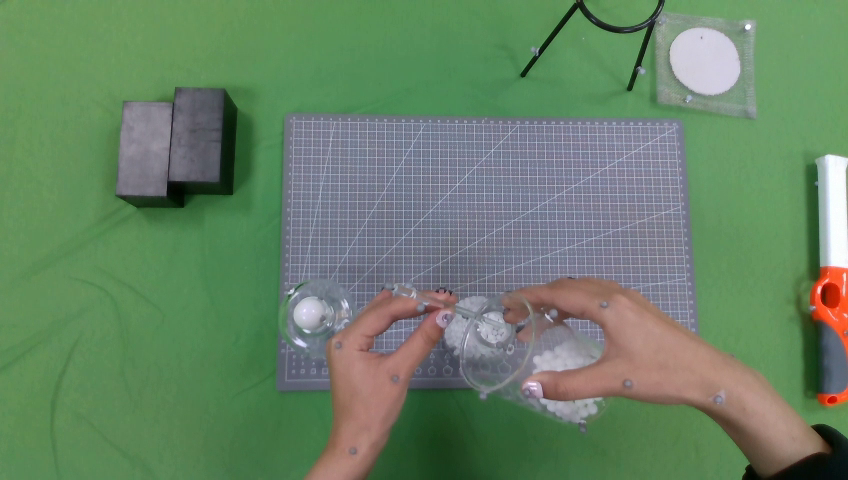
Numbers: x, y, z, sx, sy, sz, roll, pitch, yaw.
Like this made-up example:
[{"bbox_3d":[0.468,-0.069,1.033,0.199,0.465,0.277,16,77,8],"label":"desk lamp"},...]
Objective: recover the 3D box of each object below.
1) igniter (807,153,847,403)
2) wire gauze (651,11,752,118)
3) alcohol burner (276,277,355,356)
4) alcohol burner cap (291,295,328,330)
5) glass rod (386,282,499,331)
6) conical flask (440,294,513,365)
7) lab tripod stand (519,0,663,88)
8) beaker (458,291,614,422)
[{"bbox_3d":[0.448,0.039,0.668,0.057,0.025,0.275,8,80,-13],"label":"igniter"},{"bbox_3d":[0.327,-0.209,0.711,0.125,0.011,0.121,6,81,-4],"label":"wire gauze"},{"bbox_3d":[-0.107,0.072,0.582,0.078,0.119,0.077,0,79,-1],"label":"alcohol burner"},{"bbox_3d":[-0.105,0.065,0.547,0.034,0.048,0.034,1,84,-6],"label":"alcohol burner cap"},{"bbox_3d":[0.022,0.055,0.475,0.008,0.201,0.008,-8,71,26],"label":"glass rod"},{"bbox_3d":[0.056,0.084,0.586,0.075,0.122,0.075,1,80,-3],"label":"conical flask"},{"bbox_3d":[0.180,-0.228,0.641,0.148,0.131,0.148,0,82,-3],"label":"lab tripod stand"},{"bbox_3d":[0.085,0.089,0.454,0.101,0.083,0.074,29,94,-30],"label":"beaker"}]
